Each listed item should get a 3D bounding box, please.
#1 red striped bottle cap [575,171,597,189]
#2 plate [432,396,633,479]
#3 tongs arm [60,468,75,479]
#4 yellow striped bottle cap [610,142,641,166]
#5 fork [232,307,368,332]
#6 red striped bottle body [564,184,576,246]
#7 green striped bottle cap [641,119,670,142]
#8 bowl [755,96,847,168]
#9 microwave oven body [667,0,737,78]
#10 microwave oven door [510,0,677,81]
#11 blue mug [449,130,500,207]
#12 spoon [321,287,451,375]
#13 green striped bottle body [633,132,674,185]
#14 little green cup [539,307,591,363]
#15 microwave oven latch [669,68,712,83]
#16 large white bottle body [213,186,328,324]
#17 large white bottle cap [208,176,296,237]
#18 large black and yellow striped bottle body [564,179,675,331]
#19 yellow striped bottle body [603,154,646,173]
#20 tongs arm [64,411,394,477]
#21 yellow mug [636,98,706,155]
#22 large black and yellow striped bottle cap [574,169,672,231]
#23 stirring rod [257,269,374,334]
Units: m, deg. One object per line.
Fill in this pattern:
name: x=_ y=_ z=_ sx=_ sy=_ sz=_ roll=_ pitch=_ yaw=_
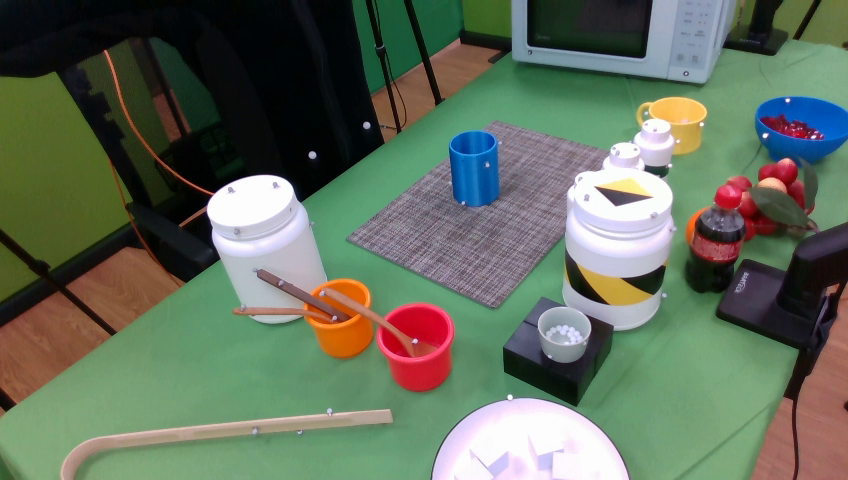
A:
red striped bottle cap: x=0.242 y=-0.081 z=0.876 sx=0.044 sy=0.018 sz=0.044 roll=-5 pitch=44 yaw=5
plate: x=0.112 y=0.261 z=0.634 sx=0.209 sy=0.038 sz=0.208 roll=-5 pitch=40 yaw=4
tongs arm: x=-0.239 y=0.301 z=0.648 sx=0.386 sy=0.028 sz=0.028 roll=6 pitch=49 yaw=16
yellow striped bottle cap: x=0.308 y=-0.131 z=0.925 sx=0.044 sy=0.019 sz=0.044 roll=-4 pitch=45 yaw=5
fork: x=-0.152 y=0.101 z=0.781 sx=0.209 sy=0.018 sz=0.028 roll=18 pitch=19 yaw=-46
red striped bottle body: x=0.247 y=-0.041 z=0.910 sx=0.063 sy=0.120 sz=0.062 roll=-3 pitch=39 yaw=3
green striped bottle cap: x=0.371 y=-0.175 z=0.968 sx=0.044 sy=0.020 sz=0.044 roll=-4 pitch=42 yaw=5
bowl: x=0.645 y=-0.177 z=1.041 sx=0.151 sy=0.077 sz=0.150 roll=-5 pitch=40 yaw=4
microwave oven body: x=0.462 y=-0.552 z=1.369 sx=0.439 sy=0.261 sz=0.326 roll=15 pitch=46 yaw=26
microwave oven door: x=0.354 y=-0.478 z=1.290 sx=0.353 sy=0.245 sz=0.039 roll=15 pitch=45 yaw=25
blue mug: x=0.089 y=-0.132 z=1.049 sx=0.082 sy=0.106 sz=0.116 roll=0 pitch=40 yaw=9
spoon: x=-0.046 y=0.111 z=0.757 sx=0.194 sy=0.021 sz=0.041 roll=38 pitch=46 yaw=-15
green striped bottle body: x=0.376 y=-0.135 z=1.001 sx=0.063 sy=0.120 sz=0.063 roll=-5 pitch=40 yaw=5
little green cup: x=0.167 y=0.114 z=0.721 sx=0.061 sy=0.039 sz=0.061 roll=-4 pitch=43 yaw=4
microwave oven latch: x=0.555 y=-0.348 z=1.263 sx=0.078 sy=0.029 sz=0.030 roll=15 pitch=46 yaw=26
large white bottle body: x=-0.220 y=0.016 z=0.864 sx=0.130 sy=0.185 sz=0.130 roll=-5 pitch=40 yaw=4
large white bottle cap: x=-0.229 y=-0.048 z=0.809 sx=0.115 sy=0.018 sz=0.114 roll=-4 pitch=40 yaw=4
large black and yellow striped bottle body: x=0.253 y=0.014 z=0.793 sx=0.131 sy=0.185 sz=0.130 roll=-5 pitch=40 yaw=4
yellow striped bottle body: x=0.314 y=-0.091 z=0.957 sx=0.063 sy=0.121 sz=0.062 roll=-4 pitch=40 yaw=4
tongs arm: x=-0.228 y=0.241 z=0.715 sx=0.385 sy=0.026 sz=0.050 roll=-5 pitch=43 yaw=4
yellow mug: x=0.453 y=-0.217 z=1.128 sx=0.100 sy=0.064 sz=0.129 roll=-34 pitch=46 yaw=-27
large black and yellow striped bottle cap: x=0.242 y=-0.051 z=0.738 sx=0.115 sy=0.019 sz=0.114 roll=-4 pitch=37 yaw=3
stirring rod: x=-0.143 y=0.084 z=0.808 sx=0.177 sy=0.006 sz=0.014 roll=30 pitch=43 yaw=-19
